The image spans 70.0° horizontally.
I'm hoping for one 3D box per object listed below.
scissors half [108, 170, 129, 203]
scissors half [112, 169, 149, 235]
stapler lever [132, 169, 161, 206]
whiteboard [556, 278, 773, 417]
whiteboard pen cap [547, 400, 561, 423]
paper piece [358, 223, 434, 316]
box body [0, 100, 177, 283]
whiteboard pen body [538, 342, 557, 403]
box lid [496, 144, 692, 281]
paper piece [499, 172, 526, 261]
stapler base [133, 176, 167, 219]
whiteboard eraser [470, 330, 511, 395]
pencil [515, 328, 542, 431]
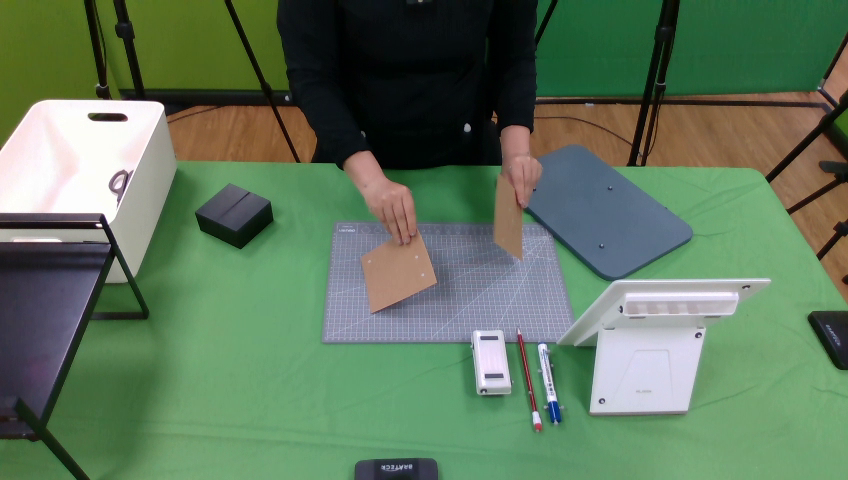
[{"bbox_3d":[-0.617,-0.077,1.222,0.040,0.013,0.174,-15,53,-7],"label":"scissors half"},{"bbox_3d":[-0.596,-0.078,1.223,0.040,0.013,0.174,5,52,2],"label":"scissors half"},{"bbox_3d":[-0.557,-0.113,1.218,0.027,0.040,0.117,2,41,-9],"label":"stapler lever"},{"bbox_3d":[0.347,0.174,0.903,0.217,0.306,0.143,1,65,-4],"label":"whiteboard"},{"bbox_3d":[0.205,0.270,0.955,0.018,0.018,0.033,0,46,-4],"label":"whiteboard pen cap"},{"bbox_3d":[-0.054,0.053,1.098,0.136,0.009,0.137,-27,54,15],"label":"paper piece"},{"bbox_3d":[-0.640,-0.095,1.140,0.254,0.161,0.361,1,46,-4],"label":"box body"},{"bbox_3d":[0.205,0.229,0.996,0.017,0.017,0.140,1,46,-3],"label":"whiteboard pen body"},{"bbox_3d":[0.360,-0.073,1.304,0.263,0.015,0.369,-24,52,-25],"label":"box lid"},{"bbox_3d":[0.165,-0.041,1.124,0.004,0.136,0.135,-7,71,28],"label":"paper piece"},{"bbox_3d":[-0.559,-0.093,1.234,0.041,0.024,0.129,2,41,-9],"label":"stapler base"},{"bbox_3d":[0.109,0.203,0.998,0.055,0.042,0.112,1,46,-5],"label":"whiteboard eraser"},{"bbox_3d":[0.169,0.225,1.002,0.012,0.012,0.192,-1,46,-6],"label":"pencil"}]
